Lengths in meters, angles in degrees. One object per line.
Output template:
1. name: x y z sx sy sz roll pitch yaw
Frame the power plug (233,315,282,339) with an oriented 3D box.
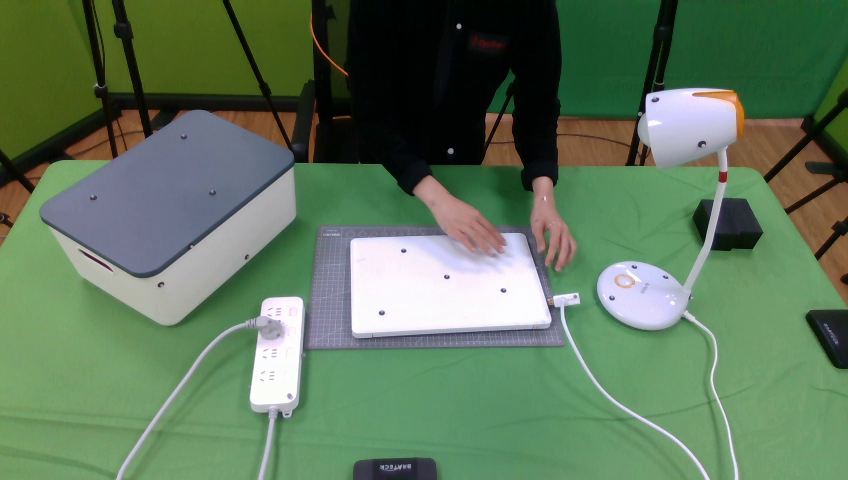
1. power plug: -0.271 0.143 0.999 0.072 0.053 0.035 6 46 3

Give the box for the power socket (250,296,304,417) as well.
1. power socket: -0.239 0.182 0.996 0.072 0.033 0.225 -2 47 -5

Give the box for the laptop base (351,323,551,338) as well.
1. laptop base: 0.040 0.080 1.126 0.355 0.023 0.234 -2 43 -6

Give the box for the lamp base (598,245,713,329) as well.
1. lamp base: 0.420 0.051 1.071 0.179 0.181 0.160 22 49 13

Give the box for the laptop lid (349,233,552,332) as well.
1. laptop lid: 0.040 0.070 1.119 0.357 0.013 0.240 -1 44 -5

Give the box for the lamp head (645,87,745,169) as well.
1. lamp head: 0.382 -0.161 0.851 0.122 0.113 0.112 -4 42 25

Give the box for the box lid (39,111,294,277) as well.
1. box lid: -0.434 -0.097 1.055 0.262 0.015 0.370 25 49 18

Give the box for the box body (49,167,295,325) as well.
1. box body: -0.437 -0.046 1.110 0.253 0.161 0.363 24 49 19

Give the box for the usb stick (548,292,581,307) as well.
1. usb stick: 0.252 0.109 1.096 0.059 0.027 0.021 -11 87 22
